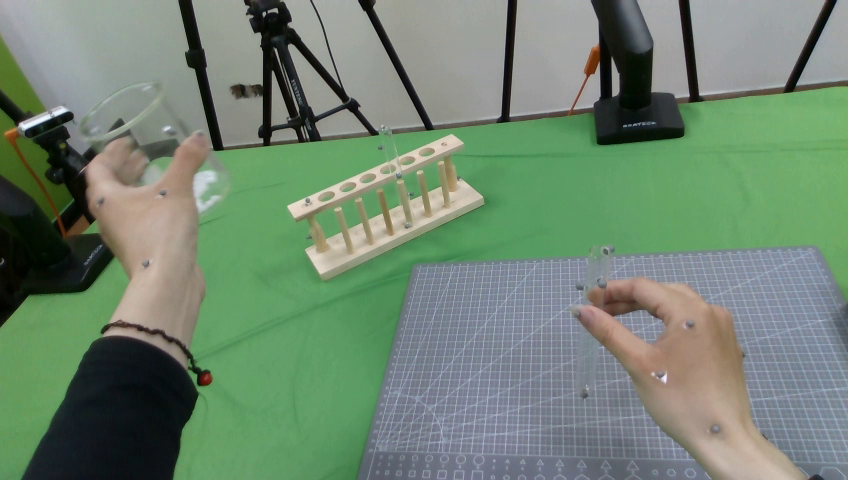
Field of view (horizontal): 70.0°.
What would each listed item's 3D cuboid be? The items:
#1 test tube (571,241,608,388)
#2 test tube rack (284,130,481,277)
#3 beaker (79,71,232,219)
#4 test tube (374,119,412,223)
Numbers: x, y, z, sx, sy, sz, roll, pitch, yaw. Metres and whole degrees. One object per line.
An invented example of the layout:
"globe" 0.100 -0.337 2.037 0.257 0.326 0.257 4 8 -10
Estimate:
"test tube" 0.126 0.064 0.469 0.017 0.151 0.017 -3 38 3
"test tube rack" -0.050 -0.052 0.796 0.242 0.086 0.066 -26 40 -15
"beaker" -0.209 -0.075 0.490 0.074 0.101 0.083 -5 46 21
"test tube" -0.037 -0.083 0.759 0.017 0.152 0.017 -9 38 7
